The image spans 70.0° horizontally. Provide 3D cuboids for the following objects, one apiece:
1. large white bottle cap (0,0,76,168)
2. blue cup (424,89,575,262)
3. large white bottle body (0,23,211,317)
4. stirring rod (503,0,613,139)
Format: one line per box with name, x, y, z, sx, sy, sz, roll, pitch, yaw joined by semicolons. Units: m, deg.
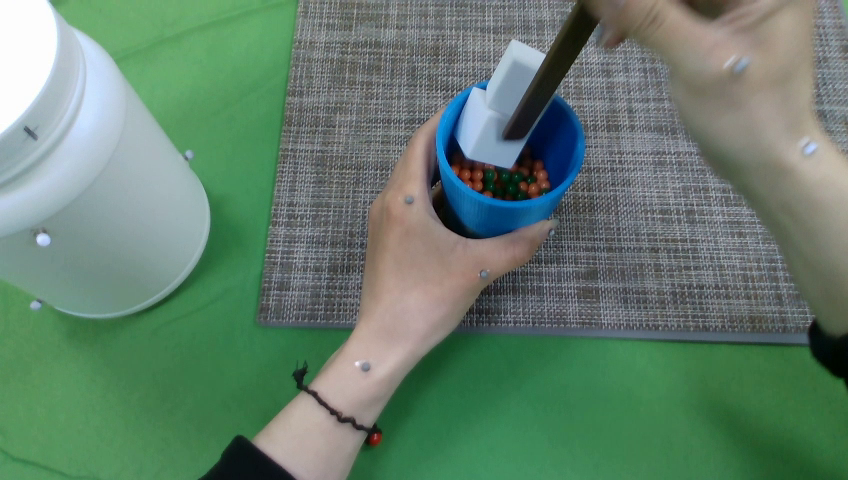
large white bottle cap;-0.217;-0.074;0.269;0.115;0.018;0.114;0;67;0
blue cup;0.045;-0.031;0.389;0.092;0.101;0.092;-1;67;3
large white bottle body;-0.215;-0.040;0.347;0.130;0.186;0.129;0;67;0
stirring rod;0.070;-0.096;0.262;0.014;0.177;0.005;-9;67;-19
